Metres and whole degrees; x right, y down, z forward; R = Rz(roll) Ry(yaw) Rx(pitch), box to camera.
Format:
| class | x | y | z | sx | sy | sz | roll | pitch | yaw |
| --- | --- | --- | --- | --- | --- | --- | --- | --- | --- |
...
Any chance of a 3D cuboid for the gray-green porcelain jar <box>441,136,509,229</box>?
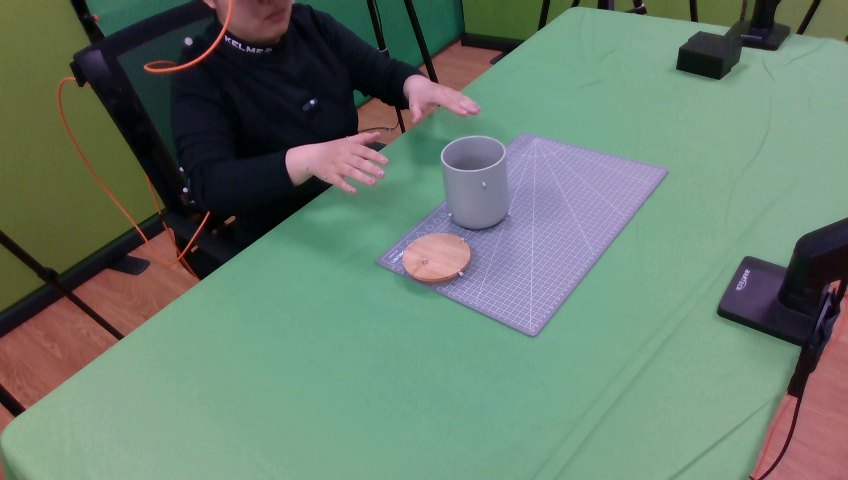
| class | x | y | z | sx | sy | sz | roll | pitch | yaw |
| --- | --- | --- | --- | --- | --- | --- | --- | --- | --- |
| gray-green porcelain jar | 0.086 | -0.090 | 0.988 | 0.106 | 0.127 | 0.105 | -5 | 40 | 5 |

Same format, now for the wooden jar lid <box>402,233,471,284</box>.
| class | x | y | z | sx | sy | sz | roll | pitch | yaw |
| --- | --- | --- | --- | --- | --- | --- | --- | --- | --- |
| wooden jar lid | 0.020 | 0.030 | 0.941 | 0.108 | 0.021 | 0.108 | -4 | 40 | 4 |
